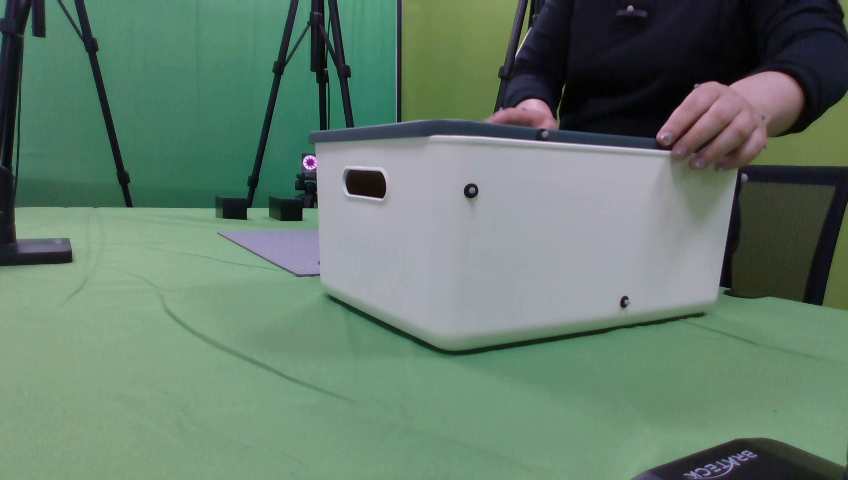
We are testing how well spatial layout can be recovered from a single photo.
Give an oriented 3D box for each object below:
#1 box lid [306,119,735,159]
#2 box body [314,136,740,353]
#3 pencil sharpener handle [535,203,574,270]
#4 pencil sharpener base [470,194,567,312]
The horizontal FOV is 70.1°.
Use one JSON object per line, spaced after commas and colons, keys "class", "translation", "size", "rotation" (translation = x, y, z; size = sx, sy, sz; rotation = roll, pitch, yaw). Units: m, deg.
{"class": "box lid", "translation": [0.094, -0.092, 0.603], "size": [0.373, 0.015, 0.262], "rotation": [-2, 7, -33]}
{"class": "box body", "translation": [0.098, -0.012, 0.606], "size": [0.366, 0.160, 0.253], "rotation": [-2, 8, -33]}
{"class": "pencil sharpener handle", "translation": [0.137, -0.004, 0.616], "size": [0.031, 0.067, 0.036], "rotation": [-3, -2, -35]}
{"class": "pencil sharpener base", "translation": [0.093, 0.010, 0.590], "size": [0.077, 0.107, 0.061], "rotation": [-3, 9, -35]}
